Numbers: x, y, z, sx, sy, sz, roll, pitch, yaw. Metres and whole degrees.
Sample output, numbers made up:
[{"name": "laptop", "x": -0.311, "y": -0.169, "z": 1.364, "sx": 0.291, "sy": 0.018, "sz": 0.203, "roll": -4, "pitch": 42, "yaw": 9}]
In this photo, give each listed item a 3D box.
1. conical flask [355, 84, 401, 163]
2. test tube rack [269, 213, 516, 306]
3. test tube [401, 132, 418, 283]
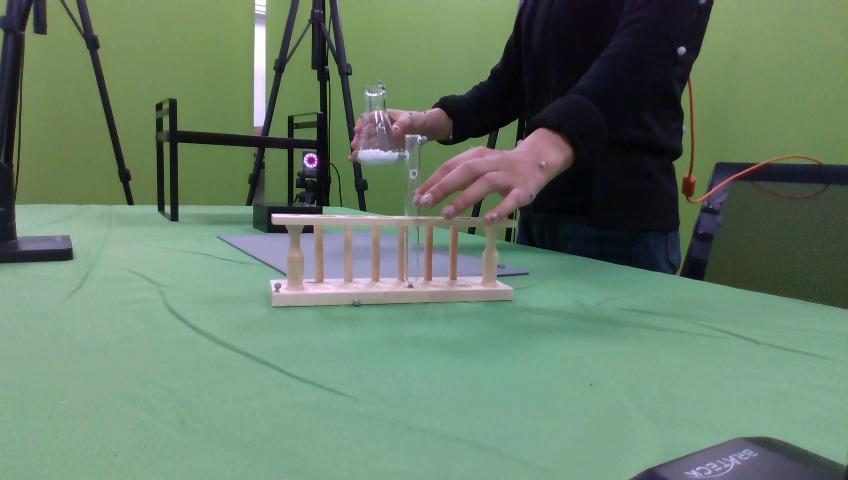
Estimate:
[{"name": "conical flask", "x": -0.078, "y": -0.187, "z": 0.976, "sx": 0.075, "sy": 0.122, "sz": 0.075, "roll": -4, "pitch": 3, "yaw": 1}, {"name": "test tube rack", "x": -0.032, "y": 0.015, "z": 0.617, "sx": 0.243, "sy": 0.085, "sz": 0.066, "roll": 0, "pitch": 7, "yaw": -17}, {"name": "test tube", "x": -0.014, "y": -0.030, "z": 0.596, "sx": 0.017, "sy": 0.150, "sz": 0.017, "roll": 1, "pitch": 11, "yaw": 0}]
